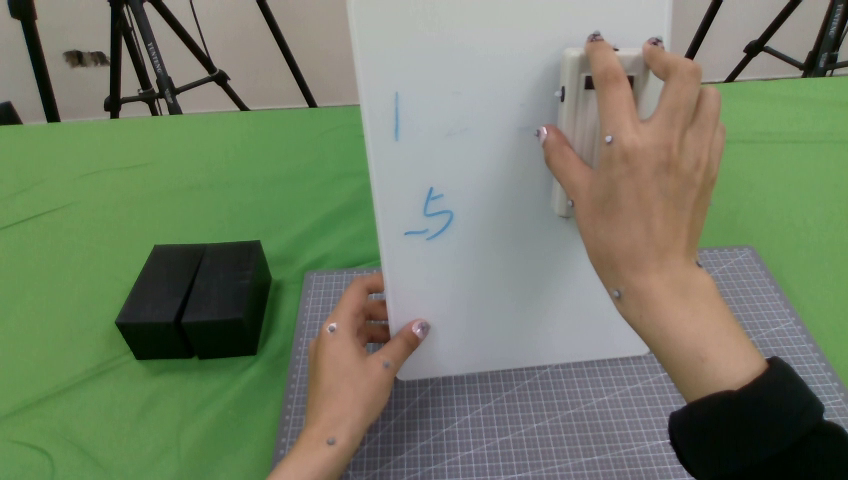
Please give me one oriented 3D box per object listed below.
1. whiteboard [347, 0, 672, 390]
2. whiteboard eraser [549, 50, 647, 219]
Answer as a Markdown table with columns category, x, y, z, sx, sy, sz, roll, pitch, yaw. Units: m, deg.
| category | x | y | z | sx | sy | sz | roll | pitch | yaw |
| --- | --- | --- | --- | --- | --- | --- | --- | --- | --- |
| whiteboard | 0.067 | -0.053 | 0.510 | 0.217 | 0.307 | 0.143 | -5 | 22 | -1 |
| whiteboard eraser | 0.117 | -0.071 | 0.415 | 0.055 | 0.113 | 0.041 | 0 | 19 | 1 |
